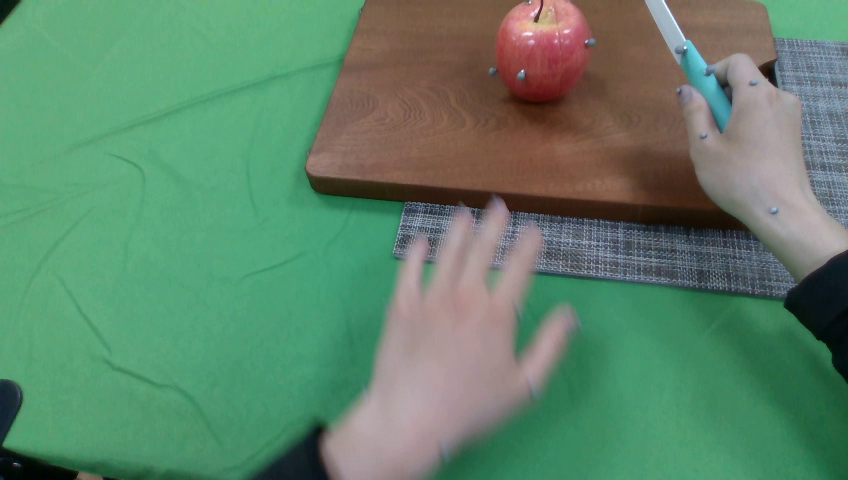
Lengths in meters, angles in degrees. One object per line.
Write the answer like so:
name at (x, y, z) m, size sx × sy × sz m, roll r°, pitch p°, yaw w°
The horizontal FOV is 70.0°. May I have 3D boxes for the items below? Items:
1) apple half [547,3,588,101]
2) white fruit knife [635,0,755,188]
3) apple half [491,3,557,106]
apple half at (0.123, -0.161, 0.521) m, size 0.033 × 0.082 × 0.080 m, roll -6°, pitch 55°, yaw 6°
white fruit knife at (0.191, -0.134, 0.453) m, size 0.016 × 0.027 × 0.207 m, roll -26°, pitch 83°, yaw -7°
apple half at (0.085, -0.158, 0.523) m, size 0.053 × 0.075 × 0.080 m, roll -5°, pitch 59°, yaw 7°
